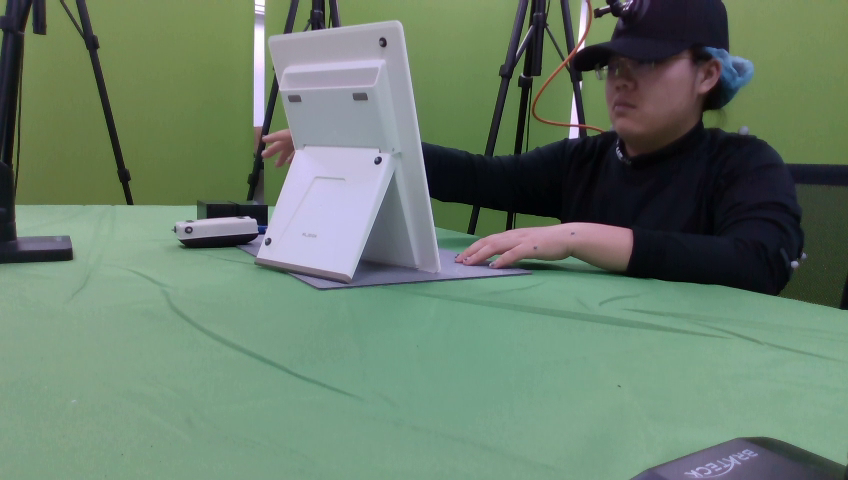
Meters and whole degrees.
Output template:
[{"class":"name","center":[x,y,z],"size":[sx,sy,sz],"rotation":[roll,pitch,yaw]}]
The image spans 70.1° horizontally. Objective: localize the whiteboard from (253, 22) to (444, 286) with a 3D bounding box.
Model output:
[{"class":"whiteboard","center":[-0.125,-0.081,0.715],"size":[0.216,0.305,0.144],"rotation":[9,29,36]}]

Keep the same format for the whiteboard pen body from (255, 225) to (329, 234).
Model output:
[{"class":"whiteboard pen body","center":[-0.240,-0.019,1.104],"size":[0.141,0.017,0.017],"rotation":[-2,9,-34]}]

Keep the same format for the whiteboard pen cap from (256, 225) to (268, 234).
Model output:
[{"class":"whiteboard pen cap","center":[-0.288,-0.019,1.071],"size":[0.033,0.018,0.018],"rotation":[-5,11,-34]}]

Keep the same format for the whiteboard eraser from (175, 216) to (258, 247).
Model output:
[{"class":"whiteboard eraser","center":[-0.313,-0.012,0.915],"size":[0.113,0.042,0.055],"rotation":[-5,12,-30]}]
